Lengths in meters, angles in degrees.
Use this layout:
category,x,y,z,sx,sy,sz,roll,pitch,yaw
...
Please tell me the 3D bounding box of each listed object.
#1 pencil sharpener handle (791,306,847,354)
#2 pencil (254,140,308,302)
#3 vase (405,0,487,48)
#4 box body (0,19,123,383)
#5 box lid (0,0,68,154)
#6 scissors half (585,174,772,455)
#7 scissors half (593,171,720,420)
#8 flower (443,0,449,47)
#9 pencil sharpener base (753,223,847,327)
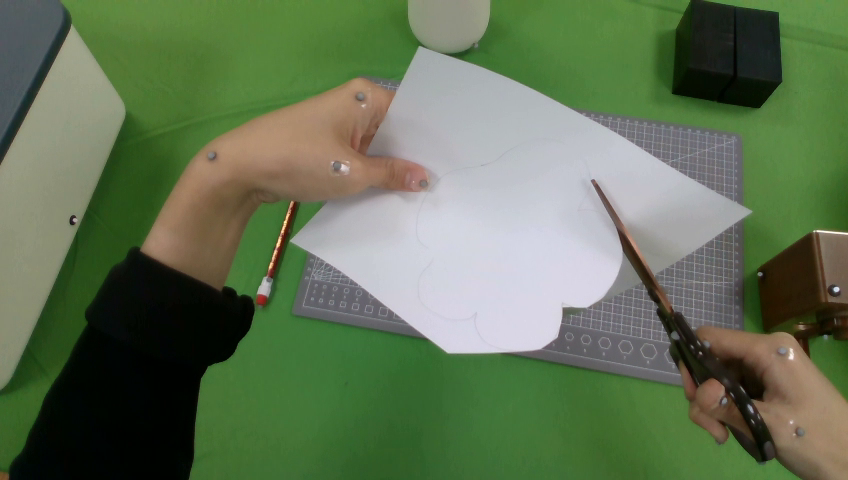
category,x,y,z,sx,sy,sz,roll,pitch,yaw
pencil sharpener handle,0.360,0.082,0.544,0.036,0.068,0.030,10,68,-11
pencil,-0.150,-0.026,0.650,0.012,0.012,0.193,10,67,4
vase,0.025,-0.305,0.657,0.098,0.201,0.097,0,67,1
box body,-0.485,-0.055,0.575,0.254,0.161,0.361,10,69,4
box lid,-0.485,-0.085,0.506,0.263,0.015,0.369,10,68,3
scissors half,0.135,0.037,0.329,0.013,0.040,0.174,-30,80,0
scissors half,0.136,0.035,0.352,0.013,0.039,0.176,-30,109,5
flower,0.020,-0.349,0.585,0.044,0.365,0.038,3,50,5
pencil sharpener base,0.369,0.040,0.573,0.061,0.108,0.076,5,69,2
